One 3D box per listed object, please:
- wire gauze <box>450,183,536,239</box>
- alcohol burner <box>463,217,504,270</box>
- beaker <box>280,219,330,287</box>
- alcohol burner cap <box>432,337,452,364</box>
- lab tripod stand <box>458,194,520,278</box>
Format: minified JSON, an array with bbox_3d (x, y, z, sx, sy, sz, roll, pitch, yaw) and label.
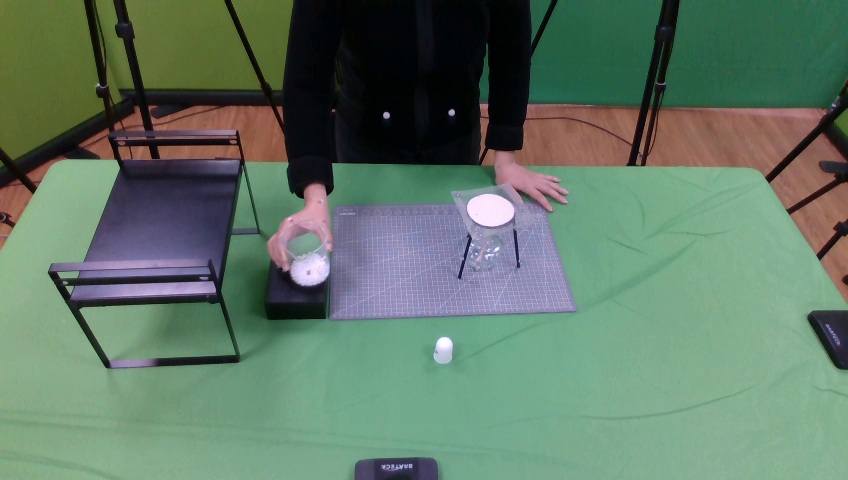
[{"bbox_3d":[0.122,-0.057,1.087,0.121,0.011,0.124,-12,47,-14],"label":"wire gauze"},{"bbox_3d":[0.114,0.000,1.139,0.078,0.119,0.077,3,48,-3],"label":"alcohol burner"},{"bbox_3d":[-0.199,0.028,1.024,0.074,0.101,0.083,1,51,0],"label":"beaker"},{"bbox_3d":[0.031,0.182,1.011,0.034,0.048,0.033,4,45,-4],"label":"alcohol burner cap"},{"bbox_3d":[0.115,-0.011,1.135,0.148,0.132,0.147,1,45,-1],"label":"lab tripod stand"}]
